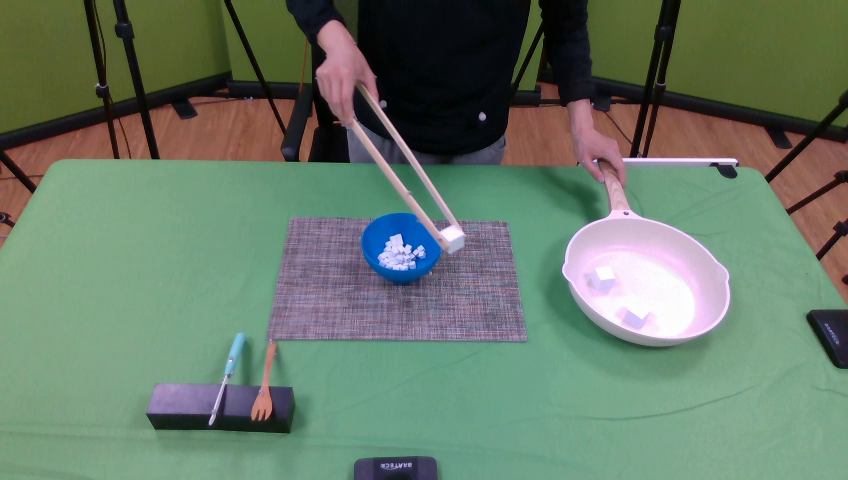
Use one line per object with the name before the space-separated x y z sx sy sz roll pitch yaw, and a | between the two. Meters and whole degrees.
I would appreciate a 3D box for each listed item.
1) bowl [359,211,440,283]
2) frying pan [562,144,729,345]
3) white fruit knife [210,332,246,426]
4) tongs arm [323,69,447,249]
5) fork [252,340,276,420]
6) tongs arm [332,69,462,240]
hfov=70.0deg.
bowl | -0.045 0.026 1.125 0.151 0.077 0.150 2 46 -2
frying pan | 0.396 -0.008 1.179 0.307 0.103 0.484 1 55 -4
white fruit knife | -0.301 0.206 0.930 0.016 0.027 0.206 5 29 -7
tongs arm | -0.068 -0.146 1.069 0.051 0.026 0.384 -35 81 -23
fork | -0.242 0.211 0.932 0.028 0.019 0.206 -8 27 -5
tongs arm | -0.049 -0.157 1.078 0.028 0.028 0.386 -32 79 -19
